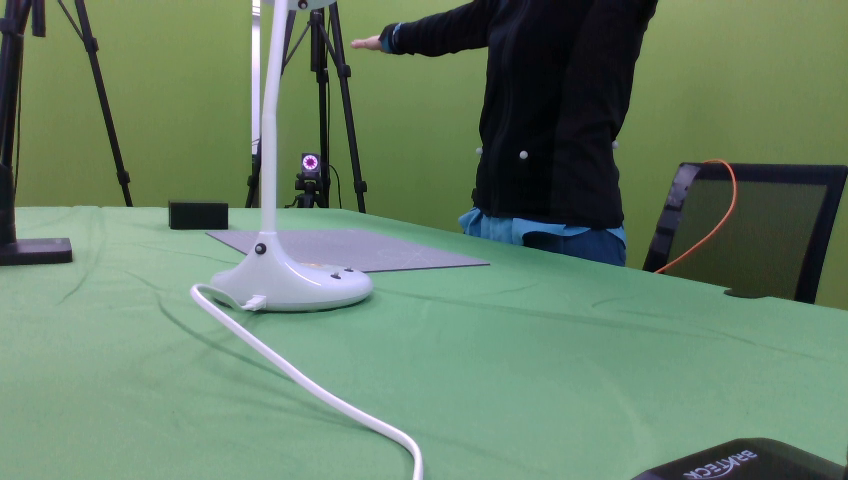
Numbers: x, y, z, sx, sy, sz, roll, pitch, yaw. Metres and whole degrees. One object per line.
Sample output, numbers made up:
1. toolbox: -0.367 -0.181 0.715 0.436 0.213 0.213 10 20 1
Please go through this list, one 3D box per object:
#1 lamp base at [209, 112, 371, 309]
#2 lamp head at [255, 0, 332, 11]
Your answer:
1. lamp base: -0.133 -0.032 0.594 0.160 0.180 0.179 2 10 3
2. lamp head: -0.141 -0.318 0.630 0.113 0.112 0.123 1 -32 -9
